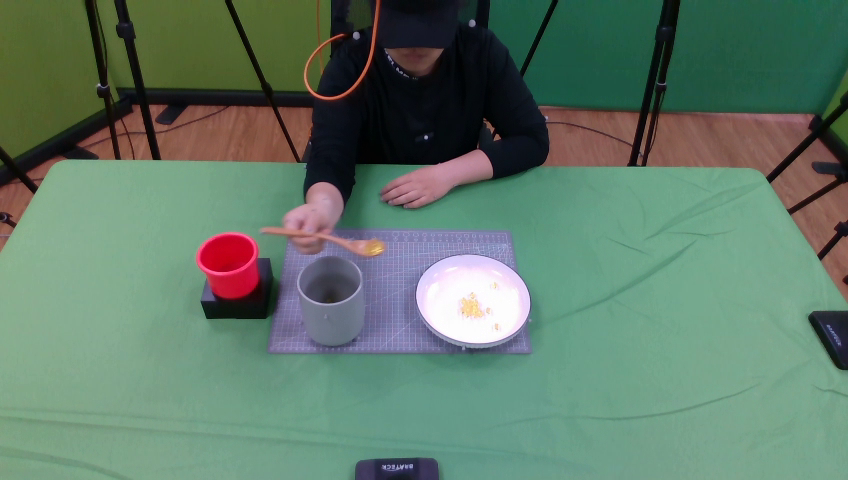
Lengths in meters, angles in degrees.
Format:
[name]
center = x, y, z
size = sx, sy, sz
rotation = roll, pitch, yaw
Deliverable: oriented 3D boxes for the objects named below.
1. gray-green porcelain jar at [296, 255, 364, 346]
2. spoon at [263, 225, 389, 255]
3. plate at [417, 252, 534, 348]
[gray-green porcelain jar]
center = -0.153, 0.106, 1.008
size = 0.106, 0.127, 0.105
rotation = 2, 46, -2
[spoon]
center = -0.149, -0.004, 0.939
size = 0.194, 0.022, 0.041
rotation = 13, 37, -17
[plate]
center = 0.090, 0.109, 1.084
size = 0.208, 0.039, 0.206
rotation = 2, 46, -2
